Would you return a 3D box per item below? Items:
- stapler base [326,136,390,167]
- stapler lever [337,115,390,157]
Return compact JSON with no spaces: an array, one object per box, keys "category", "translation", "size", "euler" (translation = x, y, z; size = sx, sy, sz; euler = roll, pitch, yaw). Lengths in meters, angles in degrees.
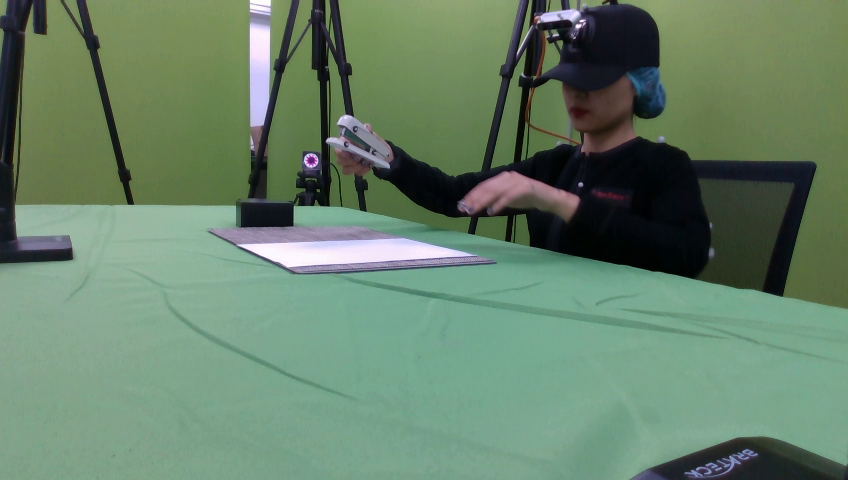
[{"category":"stapler base","translation":[-0.113,-0.161,1.067],"size":[0.041,0.024,0.131],"euler":[18,-3,43]},{"category":"stapler lever","translation":[-0.105,-0.184,1.069],"size":[0.026,0.040,0.119],"euler":[18,-2,43]}]
